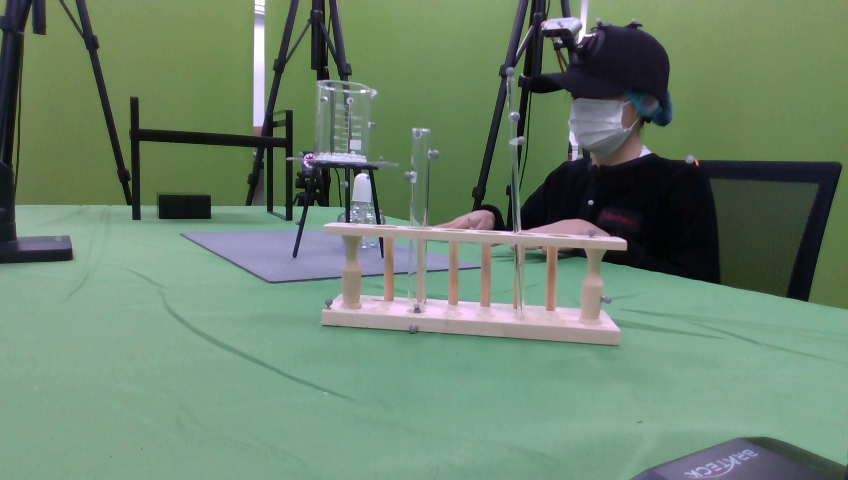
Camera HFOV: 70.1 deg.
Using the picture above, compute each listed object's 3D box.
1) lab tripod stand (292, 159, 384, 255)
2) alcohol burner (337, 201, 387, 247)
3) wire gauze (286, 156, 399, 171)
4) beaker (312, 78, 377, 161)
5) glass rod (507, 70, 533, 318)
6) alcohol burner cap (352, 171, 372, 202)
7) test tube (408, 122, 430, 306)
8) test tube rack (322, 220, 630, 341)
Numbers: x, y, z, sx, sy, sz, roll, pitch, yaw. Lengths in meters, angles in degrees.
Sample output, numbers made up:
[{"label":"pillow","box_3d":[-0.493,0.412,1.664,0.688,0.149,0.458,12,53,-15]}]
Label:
[{"label":"lab tripod stand","box_3d":[-0.105,-0.039,0.797,0.148,0.131,0.148,2,5,0]},{"label":"alcohol burner","box_3d":[-0.098,-0.049,0.954,0.078,0.119,0.078,0,6,0]},{"label":"wire gauze","box_3d":[-0.101,-0.103,0.788,0.121,0.011,0.125,5,4,6]},{"label":"beaker","box_3d":[-0.103,-0.151,0.776,0.084,0.100,0.074,5,6,14]},{"label":"glass rod","box_3d":[0.076,-0.031,0.476,0.008,0.199,0.008,-6,12,2]},{"label":"alcohol burner cap","box_3d":[-0.096,-0.084,0.951,0.034,0.048,0.034,6,5,0]},{"label":"test tube","box_3d":[-0.004,-0.019,0.489,0.017,0.150,0.017,1,11,0]},{"label":"test tube rack","box_3d":[0.041,0.029,0.512,0.242,0.085,0.067,3,7,5]}]
